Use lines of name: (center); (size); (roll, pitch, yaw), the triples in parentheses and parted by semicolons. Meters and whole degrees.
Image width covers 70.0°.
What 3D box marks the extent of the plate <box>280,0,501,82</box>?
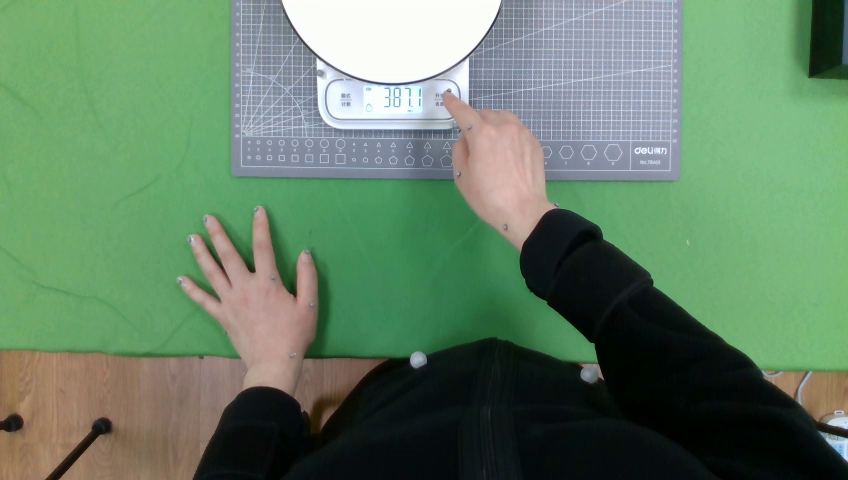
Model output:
plate: (-0.030, -0.246, 0.555); (0.209, 0.038, 0.209); (0, 92, -2)

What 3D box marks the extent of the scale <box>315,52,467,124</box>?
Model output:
scale: (-0.032, -0.215, 0.589); (0.149, 0.031, 0.201); (0, 92, -1)
